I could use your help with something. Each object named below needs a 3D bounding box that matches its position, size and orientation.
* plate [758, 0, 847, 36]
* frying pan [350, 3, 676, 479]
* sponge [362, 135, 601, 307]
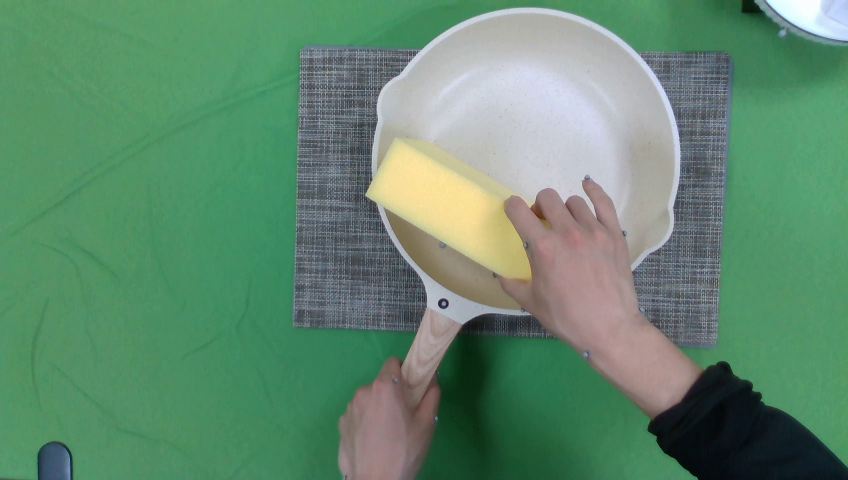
[{"bbox_3d":[0.381,-0.287,0.551,0.207,0.039,0.207,0,92,3],"label":"plate"},{"bbox_3d":[0.045,0.013,0.596,0.306,0.103,0.487,27,85,4],"label":"frying pan"},{"bbox_3d":[0.058,-0.025,0.570,0.206,0.118,0.061,29,104,9],"label":"sponge"}]
